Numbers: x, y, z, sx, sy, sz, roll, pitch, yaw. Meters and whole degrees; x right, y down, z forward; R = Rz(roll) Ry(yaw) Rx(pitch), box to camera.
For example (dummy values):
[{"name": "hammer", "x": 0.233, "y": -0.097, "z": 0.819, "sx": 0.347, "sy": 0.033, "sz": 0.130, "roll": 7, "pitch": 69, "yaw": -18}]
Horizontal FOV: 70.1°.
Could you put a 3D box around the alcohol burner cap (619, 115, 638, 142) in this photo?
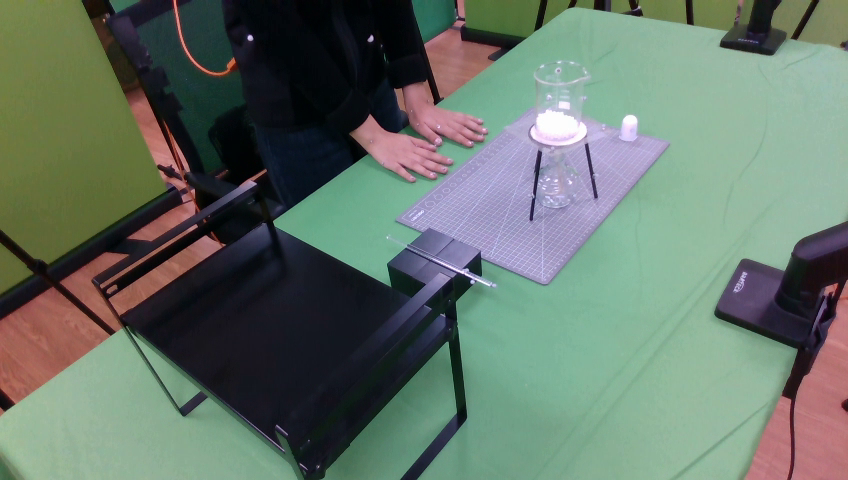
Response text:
[{"name": "alcohol burner cap", "x": 0.388, "y": -0.214, "z": 1.145, "sx": 0.034, "sy": 0.048, "sz": 0.033, "roll": -3, "pitch": 40, "yaw": 3}]

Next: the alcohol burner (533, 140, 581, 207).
[{"name": "alcohol burner", "x": 0.219, "y": -0.114, "z": 0.999, "sx": 0.078, "sy": 0.119, "sz": 0.077, "roll": -6, "pitch": 42, "yaw": 5}]

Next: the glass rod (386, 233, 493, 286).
[{"name": "glass rod", "x": 0.018, "y": 0.027, "z": 0.878, "sx": 0.198, "sy": 0.008, "sz": 0.008, "roll": 25, "pitch": 50, "yaw": 33}]

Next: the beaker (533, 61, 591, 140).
[{"name": "beaker", "x": 0.208, "y": -0.210, "z": 0.922, "sx": 0.083, "sy": 0.101, "sz": 0.074, "roll": 5, "pitch": 44, "yaw": 14}]

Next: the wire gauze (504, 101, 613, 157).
[{"name": "wire gauze", "x": 0.211, "y": -0.175, "z": 0.956, "sx": 0.125, "sy": 0.011, "sz": 0.120, "roll": -26, "pitch": 43, "yaw": -17}]

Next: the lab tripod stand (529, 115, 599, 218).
[{"name": "lab tripod stand", "x": 0.217, "y": -0.123, "z": 0.995, "sx": 0.148, "sy": 0.132, "sz": 0.147, "roll": -4, "pitch": 43, "yaw": 4}]
